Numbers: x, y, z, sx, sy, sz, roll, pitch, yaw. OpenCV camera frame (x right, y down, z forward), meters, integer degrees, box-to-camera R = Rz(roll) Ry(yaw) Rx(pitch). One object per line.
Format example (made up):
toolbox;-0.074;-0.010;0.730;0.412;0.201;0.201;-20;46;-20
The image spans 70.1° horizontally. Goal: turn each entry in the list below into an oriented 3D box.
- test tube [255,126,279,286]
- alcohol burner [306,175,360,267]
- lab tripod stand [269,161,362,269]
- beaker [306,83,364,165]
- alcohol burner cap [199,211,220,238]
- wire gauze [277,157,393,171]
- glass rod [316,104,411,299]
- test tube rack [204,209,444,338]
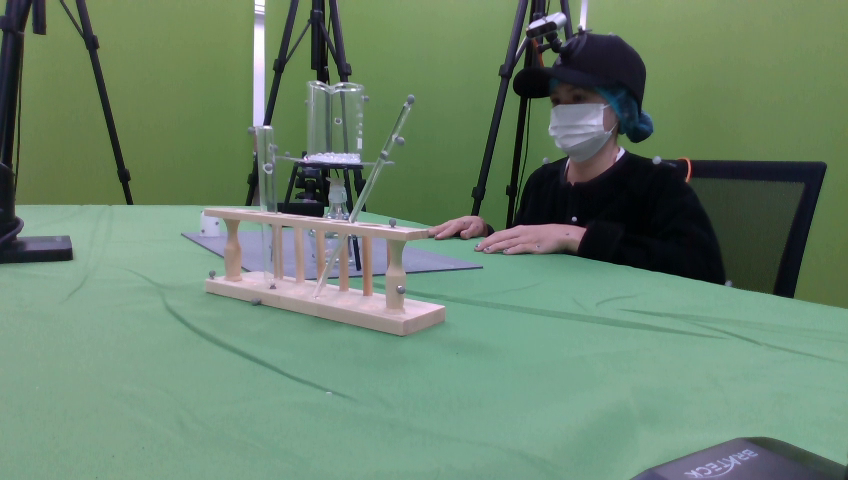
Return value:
test tube;-0.147;-0.031;0.566;0.017;0.150;0.017;-1;8;0
alcohol burner;-0.115;-0.025;0.791;0.078;0.119;0.078;1;8;0
lab tripod stand;-0.125;-0.036;0.794;0.148;0.131;0.148;5;7;0
beaker;-0.115;-0.147;0.775;0.074;0.100;0.084;2;8;-2
alcohol burner cap;-0.356;-0.027;1.002;0.034;0.048;0.034;3;7;0
wire gauze;-0.122;-0.100;0.786;0.122;0.011;0.124;-5;14;-38
glass rod;-0.054;-0.026;0.516;0.008;0.199;0.008;23;24;-11
test tube rack;-0.100;0.021;0.565;0.241;0.085;0.067;7;9;32
